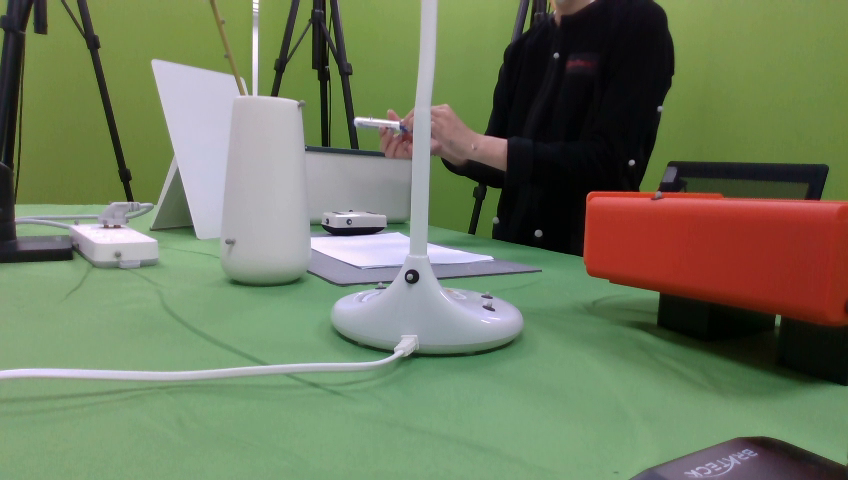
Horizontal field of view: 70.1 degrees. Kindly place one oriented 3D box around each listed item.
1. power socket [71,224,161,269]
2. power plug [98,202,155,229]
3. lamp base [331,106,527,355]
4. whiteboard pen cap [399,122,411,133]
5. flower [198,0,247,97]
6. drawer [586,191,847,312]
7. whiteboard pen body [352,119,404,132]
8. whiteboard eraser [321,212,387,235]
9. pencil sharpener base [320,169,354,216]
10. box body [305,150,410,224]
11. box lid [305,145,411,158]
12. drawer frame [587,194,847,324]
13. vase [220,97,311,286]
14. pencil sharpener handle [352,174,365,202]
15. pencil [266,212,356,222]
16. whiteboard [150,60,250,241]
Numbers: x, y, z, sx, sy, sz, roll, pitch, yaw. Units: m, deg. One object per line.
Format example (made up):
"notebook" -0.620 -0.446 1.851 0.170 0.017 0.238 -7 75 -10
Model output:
"power socket" -0.408 0.004 0.793 0.072 0.032 0.225 -2 8 -38
"power plug" -0.416 -0.027 0.848 0.073 0.052 0.035 0 8 -28
"lamp base" 0.006 -0.012 0.478 0.161 0.180 0.179 2 10 2
"whiteboard pen cap" -0.027 -0.189 1.011 0.033 0.018 0.018 17 15 35
"flower" -0.187 -0.133 0.648 0.038 0.362 0.044 -1 21 42
"drawer" 0.281 0.001 0.513 0.195 0.073 0.210 -1 8 -29
"whiteboard pen body" -0.072 -0.198 1.047 0.140 0.017 0.017 13 12 36
"whiteboard eraser" -0.128 -0.031 1.108 0.113 0.042 0.055 -3 7 -38
"pencil sharpener base" -0.207 -0.113 1.438 0.077 0.107 0.061 2 6 -11
"box body" -0.230 -0.126 1.372 0.366 0.160 0.253 -2 9 -33
"box lid" -0.228 -0.200 1.362 0.373 0.015 0.262 -1 8 -33
"drawer frame" 0.286 0.004 0.508 0.203 0.082 0.212 -1 6 -30
"vase" -0.172 -0.052 0.662 0.098 0.200 0.098 3 8 0
"pencil sharpener handle" -0.156 -0.125 1.450 0.031 0.068 0.036 2 20 -11
"pencil" -0.244 -0.049 1.318 0.195 0.012 0.012 4 7 -12
"whiteboard" -0.408 -0.139 1.093 0.143 0.305 0.218 -15 -1 26
